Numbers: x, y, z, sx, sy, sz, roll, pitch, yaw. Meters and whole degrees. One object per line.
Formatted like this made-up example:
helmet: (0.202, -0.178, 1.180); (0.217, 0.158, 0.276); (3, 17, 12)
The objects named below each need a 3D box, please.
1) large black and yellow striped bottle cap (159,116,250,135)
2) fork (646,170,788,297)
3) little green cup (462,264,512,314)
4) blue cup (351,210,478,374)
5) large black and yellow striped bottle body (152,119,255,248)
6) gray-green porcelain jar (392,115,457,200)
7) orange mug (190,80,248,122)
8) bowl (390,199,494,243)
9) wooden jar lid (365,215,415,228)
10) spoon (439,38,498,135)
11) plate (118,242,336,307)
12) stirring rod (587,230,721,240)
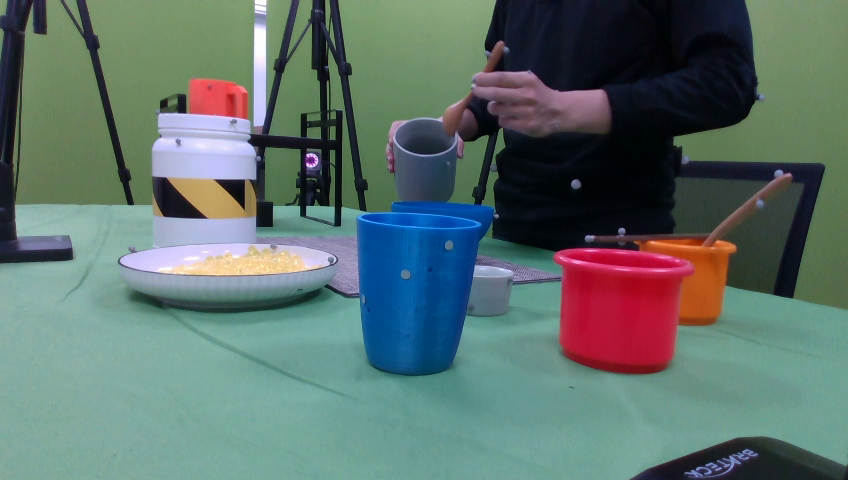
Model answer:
large black and yellow striped bottle cap: (-0.292, -0.153, 0.810); (0.115, 0.019, 0.115); (3, 8, 0)
fork: (0.256, 0.004, 0.543); (0.028, 0.018, 0.207); (3, -36, -9)
little green cup: (0.053, 0.047, 0.580); (0.061, 0.038, 0.061); (3, 8, 0)
blue cup: (-0.009, 0.034, 0.414); (0.093, 0.100, 0.092); (4, 8, 0)
large black and yellow striped bottle body: (-0.296, -0.070, 0.819); (0.131, 0.184, 0.130); (2, 7, 0)
gray-green porcelain jar: (-0.001, -0.126, 1.011); (0.106, 0.126, 0.105); (1, 47, -1)
orange mug: (-0.394, -0.257, 1.172); (0.126, 0.100, 0.084); (1, 6, 25)
bowl: (0.024, -0.015, 0.871); (0.151, 0.077, 0.151); (3, 7, 0)
wooden jar lid: (-0.073, -0.040, 1.291); (0.108, 0.020, 0.108); (3, 8, 0)
spoon: (0.060, -0.215, 0.855); (0.022, 0.041, 0.193); (-3, -26, -27)
plate: (-0.194, 0.033, 0.615); (0.209, 0.038, 0.209); (2, 7, 0)
stirring rod: (0.227, -0.005, 0.586); (0.177, 0.006, 0.014); (-2, 7, -29)
